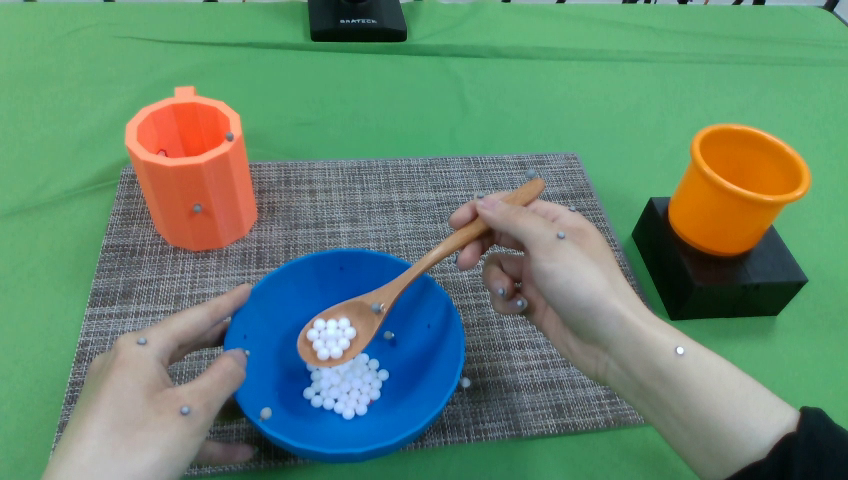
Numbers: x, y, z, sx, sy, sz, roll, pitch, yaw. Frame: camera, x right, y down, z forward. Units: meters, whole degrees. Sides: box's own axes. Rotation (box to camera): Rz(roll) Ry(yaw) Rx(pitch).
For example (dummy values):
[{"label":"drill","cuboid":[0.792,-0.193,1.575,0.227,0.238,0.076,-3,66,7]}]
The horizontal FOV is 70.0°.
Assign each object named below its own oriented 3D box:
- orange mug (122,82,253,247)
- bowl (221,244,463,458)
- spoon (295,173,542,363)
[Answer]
[{"label":"orange mug","cuboid":[-0.196,-0.071,0.512,0.084,0.101,0.125,-9,56,-15]},{"label":"bowl","cuboid":[-0.053,0.084,0.409,0.151,0.077,0.150,4,49,-4]},{"label":"spoon","cuboid":[-0.001,0.016,0.393,0.194,0.022,0.041,-38,54,1]}]
